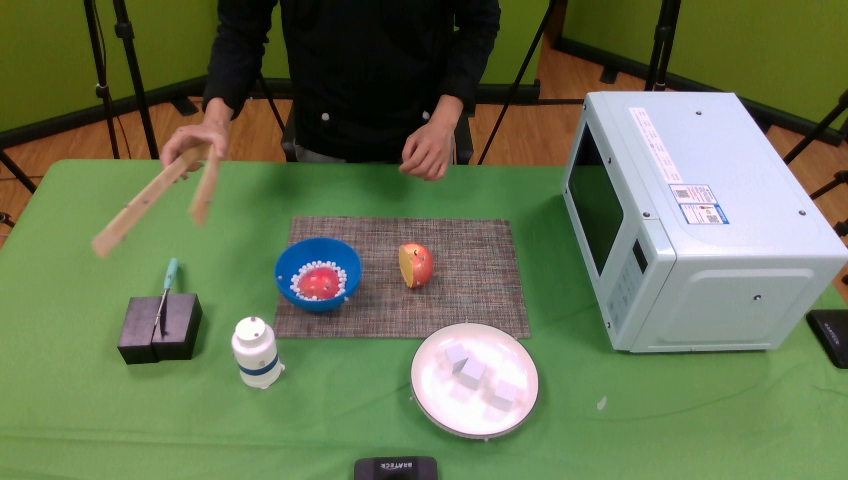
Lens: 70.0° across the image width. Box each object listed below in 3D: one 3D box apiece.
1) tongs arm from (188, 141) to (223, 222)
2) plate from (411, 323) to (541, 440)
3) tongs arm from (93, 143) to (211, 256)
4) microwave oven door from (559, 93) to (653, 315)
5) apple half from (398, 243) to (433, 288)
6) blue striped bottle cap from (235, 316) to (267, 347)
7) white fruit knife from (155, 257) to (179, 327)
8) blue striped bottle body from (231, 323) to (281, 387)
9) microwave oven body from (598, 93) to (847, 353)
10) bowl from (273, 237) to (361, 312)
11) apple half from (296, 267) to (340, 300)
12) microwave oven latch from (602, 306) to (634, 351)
[{"bbox_3d":[-0.331,-0.100,0.922,0.028,0.028,0.385,-28,25,-3],"label":"tongs arm"},{"bbox_3d":[0.082,0.228,0.976,0.208,0.039,0.206,2,45,-2],"label":"plate"},{"bbox_3d":[-0.398,-0.076,0.923,0.051,0.026,0.383,-20,24,5],"label":"tongs arm"},{"bbox_3d":[0.327,-0.074,1.123,0.039,0.245,0.353,-1,46,-5],"label":"microwave oven door"},{"bbox_3d":[-0.012,0.046,1.115,0.053,0.075,0.080,-11,44,-19],"label":"apple half"},{"bbox_3d":[-0.259,0.137,0.907,0.044,0.021,0.044,3,43,-2],"label":"blue striped bottle cap"},{"bbox_3d":[-0.440,0.085,1.037,0.016,0.027,0.206,10,26,-19],"label":"white fruit knife"},{"bbox_3d":[-0.262,0.171,0.944,0.063,0.121,0.062,2,46,-2],"label":"blue striped bottle body"},{"bbox_3d":[0.475,-0.041,1.109,0.326,0.261,0.438,-1,45,-4],"label":"microwave oven body"},{"bbox_3d":[-0.186,0.074,1.069,0.151,0.077,0.150,3,46,-3],"label":"bowl"},{"bbox_3d":[-0.187,0.070,1.067,0.081,0.033,0.081,2,47,-2],"label":"apple half"},{"bbox_3d":[0.332,0.153,1.044,0.030,0.029,0.078,-1,45,-4],"label":"microwave oven latch"}]
